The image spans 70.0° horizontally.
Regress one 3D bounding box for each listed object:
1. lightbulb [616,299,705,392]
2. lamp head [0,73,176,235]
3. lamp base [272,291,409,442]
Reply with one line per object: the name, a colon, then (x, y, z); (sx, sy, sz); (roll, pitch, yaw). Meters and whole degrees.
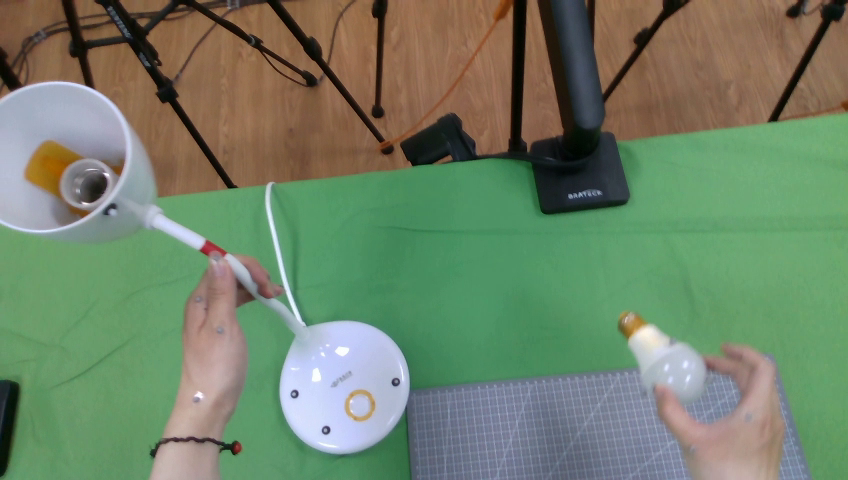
lightbulb: (0.227, 0.099, 0.594); (0.059, 0.060, 0.106); (-27, 52, -6)
lamp head: (-0.254, -0.050, 0.469); (0.112, 0.123, 0.112); (0, 75, 2)
lamp base: (-0.114, 0.130, 0.684); (0.178, 0.182, 0.160); (40, 76, 21)
